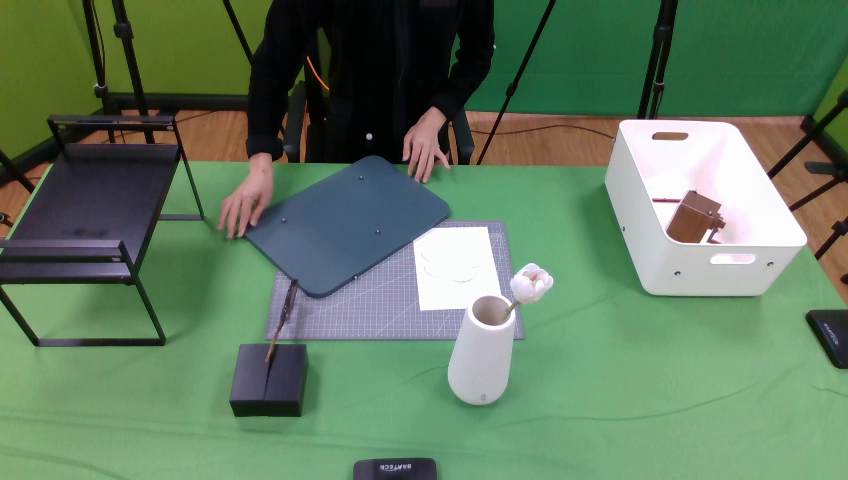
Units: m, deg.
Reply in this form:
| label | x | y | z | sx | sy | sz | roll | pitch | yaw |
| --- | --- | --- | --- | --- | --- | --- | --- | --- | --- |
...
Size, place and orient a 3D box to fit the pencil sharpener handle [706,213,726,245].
| label | x | y | z | sx | sy | sz | roll | pitch | yaw |
| --- | --- | --- | --- | --- | --- | --- | --- | --- | --- |
| pencil sharpener handle | 0.572 | -0.019 | 1.174 | 0.030 | 0.068 | 0.036 | 30 | 47 | 22 |

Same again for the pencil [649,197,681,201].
| label | x | y | z | sx | sy | sz | roll | pitch | yaw |
| --- | --- | --- | --- | --- | --- | --- | --- | --- | --- |
| pencil | 0.513 | -0.090 | 1.322 | 0.194 | 0.012 | 0.012 | 2 | 46 | 2 |

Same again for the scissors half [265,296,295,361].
| label | x | y | z | sx | sy | sz | roll | pitch | yaw |
| --- | --- | --- | --- | --- | --- | --- | --- | --- | --- |
| scissors half | -0.239 | 0.143 | 1.005 | 0.013 | 0.040 | 0.174 | 17 | 28 | -6 |

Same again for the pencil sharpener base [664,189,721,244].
| label | x | y | z | sx | sy | sz | roll | pitch | yaw |
| --- | --- | --- | --- | --- | --- | --- | --- | --- | --- |
| pencil sharpener base | 0.530 | -0.034 | 1.202 | 0.076 | 0.107 | 0.061 | 30 | 51 | 21 |

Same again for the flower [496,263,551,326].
| label | x | y | z | sx | sy | sz | roll | pitch | yaw |
| --- | --- | --- | --- | --- | --- | --- | --- | --- | --- |
| flower | 0.102 | 0.120 | 0.853 | 0.044 | 0.363 | 0.038 | -1 | 64 | -10 |

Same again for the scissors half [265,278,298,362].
| label | x | y | z | sx | sy | sz | roll | pitch | yaw |
| --- | --- | --- | --- | --- | --- | --- | --- | --- | --- |
| scissors half | -0.234 | 0.127 | 0.993 | 0.013 | 0.040 | 0.174 | 12 | 46 | -3 |

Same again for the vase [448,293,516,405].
| label | x | y | z | sx | sy | sz | roll | pitch | yaw |
| --- | --- | --- | --- | --- | --- | --- | --- | --- | --- |
| vase | 0.091 | 0.169 | 0.921 | 0.098 | 0.201 | 0.097 | 3 | 47 | -3 |

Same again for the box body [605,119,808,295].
| label | x | y | z | sx | sy | sz | roll | pitch | yaw |
| --- | --- | --- | --- | --- | --- | --- | --- | --- | --- |
| box body | 0.529 | -0.068 | 1.205 | 0.254 | 0.161 | 0.361 | 1 | 46 | -4 |

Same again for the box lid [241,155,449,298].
| label | x | y | z | sx | sy | sz | roll | pitch | yaw |
| --- | --- | --- | --- | --- | --- | --- | --- | --- | --- |
| box lid | -0.157 | -0.043 | 1.234 | 0.371 | 0.015 | 0.262 | -34 | 56 | -31 |
